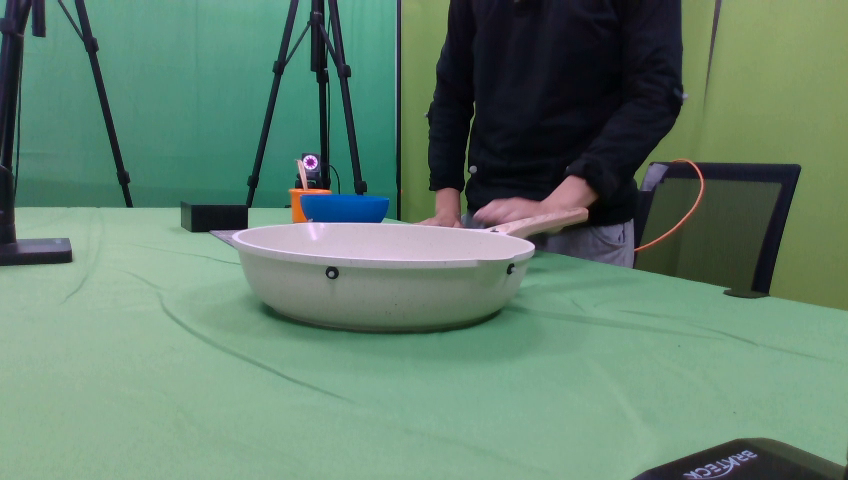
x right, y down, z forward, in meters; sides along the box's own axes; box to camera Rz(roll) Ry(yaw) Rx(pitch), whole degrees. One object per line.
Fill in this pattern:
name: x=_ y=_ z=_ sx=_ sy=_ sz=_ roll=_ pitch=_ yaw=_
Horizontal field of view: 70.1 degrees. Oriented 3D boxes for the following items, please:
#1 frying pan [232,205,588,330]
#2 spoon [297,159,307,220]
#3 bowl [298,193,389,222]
frying pan: x=0.039 y=0.005 z=0.670 sx=0.490 sy=0.102 sz=0.305 roll=-15 pitch=17 yaw=-40
spoon: x=-0.264 y=-0.114 z=1.338 sx=0.042 sy=0.193 sz=0.021 roll=0 pitch=-37 yaw=-21
bowl: x=-0.136 y=-0.037 z=1.018 sx=0.151 sy=0.077 sz=0.151 roll=2 pitch=7 yaw=0
